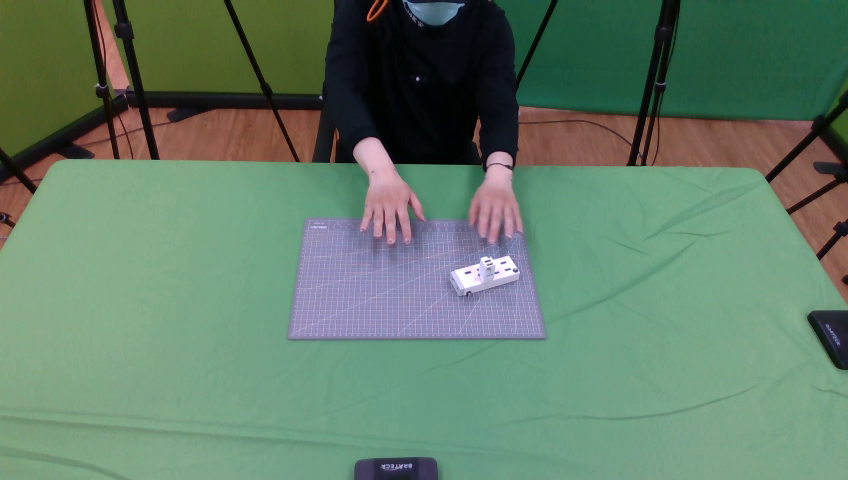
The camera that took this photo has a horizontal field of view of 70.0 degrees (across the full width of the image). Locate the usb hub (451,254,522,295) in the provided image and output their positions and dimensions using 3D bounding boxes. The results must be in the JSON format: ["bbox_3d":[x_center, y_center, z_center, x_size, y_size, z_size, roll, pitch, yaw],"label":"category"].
[{"bbox_3d":[0.117,0.065,1.132,0.125,0.025,0.049,-15,49,-16],"label":"usb hub"}]

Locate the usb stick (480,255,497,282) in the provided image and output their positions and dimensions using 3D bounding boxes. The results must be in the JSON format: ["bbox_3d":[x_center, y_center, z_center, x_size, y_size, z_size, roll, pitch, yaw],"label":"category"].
[{"bbox_3d":[0.116,0.056,1.100,0.021,0.059,0.027,-16,51,-17],"label":"usb stick"}]
